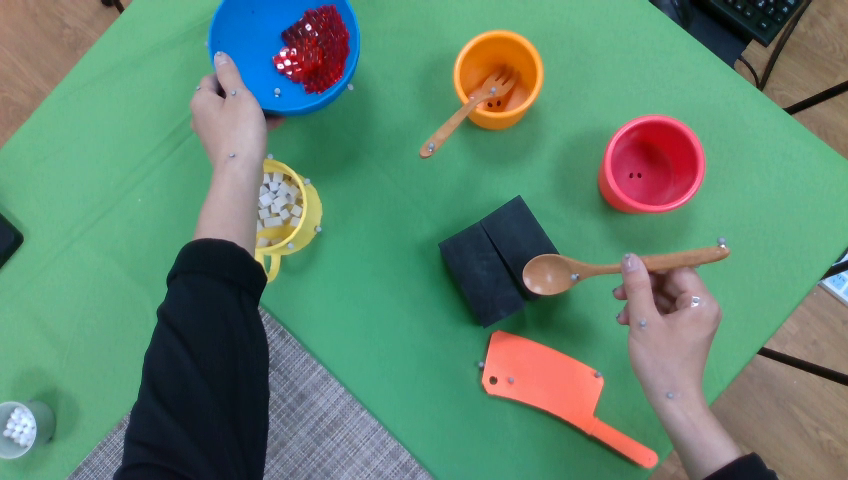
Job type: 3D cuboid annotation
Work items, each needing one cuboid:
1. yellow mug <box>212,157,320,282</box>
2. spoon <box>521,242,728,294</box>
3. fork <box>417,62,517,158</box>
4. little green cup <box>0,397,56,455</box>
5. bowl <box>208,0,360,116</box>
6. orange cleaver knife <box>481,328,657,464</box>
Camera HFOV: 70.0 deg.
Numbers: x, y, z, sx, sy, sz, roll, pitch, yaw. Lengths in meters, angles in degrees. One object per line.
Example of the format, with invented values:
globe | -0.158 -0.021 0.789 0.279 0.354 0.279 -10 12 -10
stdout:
yellow mug | -0.170 -0.020 0.661 0.100 0.064 0.130 0 87 4
spoon | 0.167 0.023 0.535 0.022 0.193 0.041 -20 96 -42
fork | 0.047 -0.135 0.613 0.028 0.019 0.206 36 45 5
little green cup | -0.449 0.205 0.678 0.061 0.039 0.061 0 86 4
bowl | -0.140 -0.194 0.638 0.151 0.077 0.151 0 83 -2
orange cleaver knife | 0.157 0.166 0.649 0.211 0.012 0.077 27 84 7
